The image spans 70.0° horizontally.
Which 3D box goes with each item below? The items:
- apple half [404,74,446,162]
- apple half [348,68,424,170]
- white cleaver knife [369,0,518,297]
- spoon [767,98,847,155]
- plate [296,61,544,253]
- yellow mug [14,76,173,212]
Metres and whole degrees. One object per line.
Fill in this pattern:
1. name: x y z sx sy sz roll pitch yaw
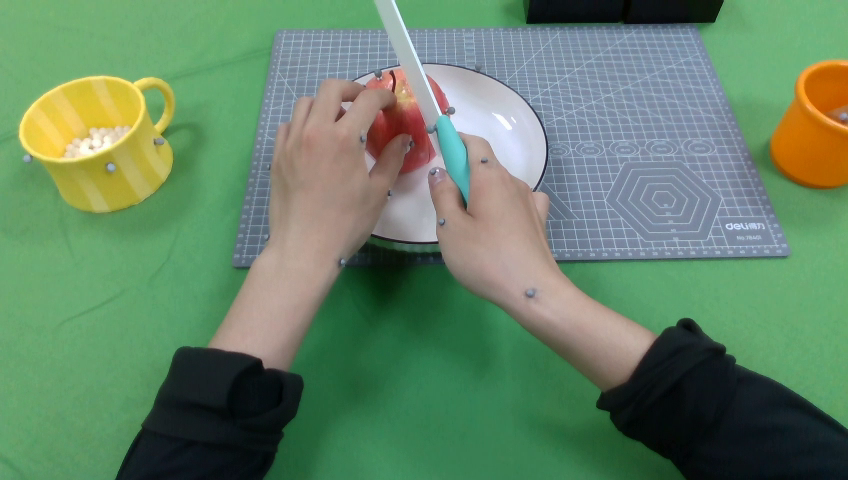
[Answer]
1. apple half: 0.002 -0.107 0.513 0.033 0.082 0.080 -19 57 -5
2. apple half: -0.035 -0.096 0.507 0.053 0.075 0.080 -18 63 -7
3. white cleaver knife: 0.004 -0.093 0.439 0.021 0.066 0.286 -22 86 -4
4. spoon: 0.381 -0.128 0.495 0.022 0.194 0.041 28 42 -35
5. plate: -0.003 -0.072 0.522 0.209 0.038 0.207 0 56 0
6. yellow mug: -0.270 -0.093 0.523 0.099 0.064 0.130 29 59 18
